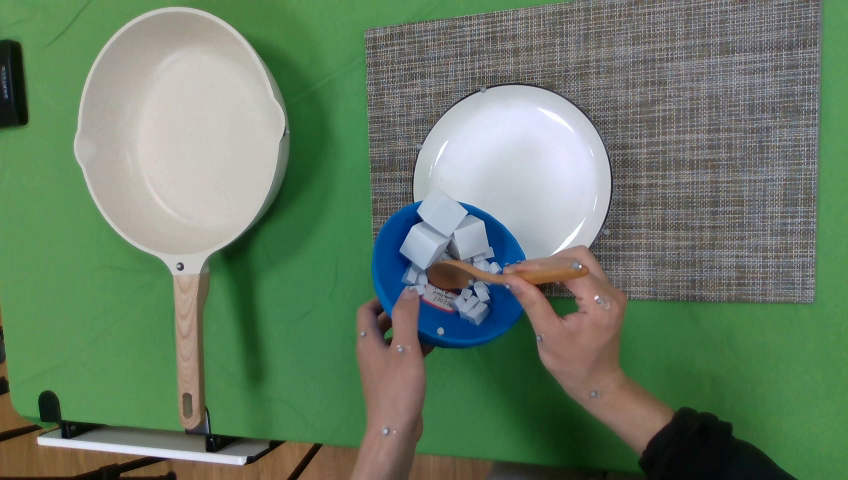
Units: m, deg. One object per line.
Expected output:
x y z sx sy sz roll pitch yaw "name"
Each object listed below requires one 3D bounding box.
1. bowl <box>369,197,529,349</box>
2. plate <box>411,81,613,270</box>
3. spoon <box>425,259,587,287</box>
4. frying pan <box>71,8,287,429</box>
0.016 0.043 0.577 0.151 0.151 0.077 43 147 11 "bowl"
0.089 -0.057 0.629 0.207 0.039 0.208 2 96 19 "plate"
0.063 0.030 0.514 0.042 0.192 0.021 40 69 -26 "spoon"
-0.287 -0.020 0.731 0.306 0.103 0.487 -2 86 20 "frying pan"
